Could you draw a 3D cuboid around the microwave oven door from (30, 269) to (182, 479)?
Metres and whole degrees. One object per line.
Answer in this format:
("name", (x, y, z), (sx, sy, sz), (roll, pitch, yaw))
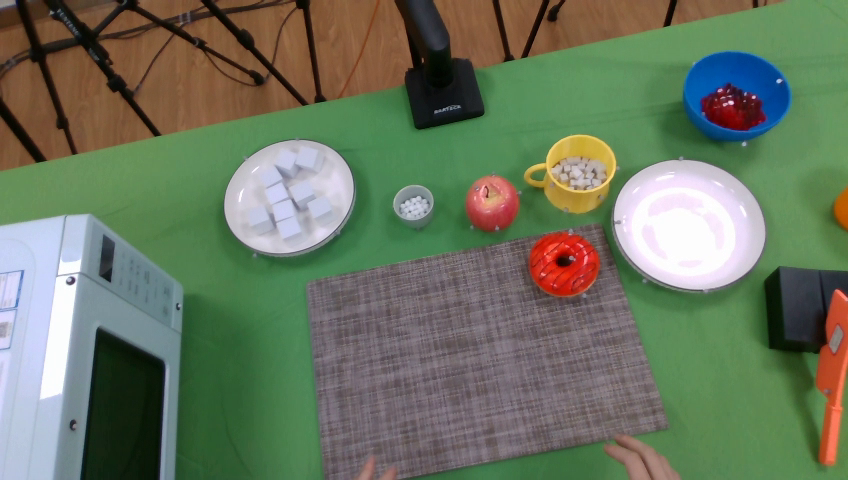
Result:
("microwave oven door", (-0.358, 0.239, 0.700), (0.039, 0.246, 0.352), (-9, 65, 3))

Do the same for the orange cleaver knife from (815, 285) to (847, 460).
("orange cleaver knife", (0.498, 0.161, 0.743), (0.012, 0.077, 0.211), (6, 99, 11))

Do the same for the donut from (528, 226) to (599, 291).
("donut", (0.196, 0.026, 0.858), (0.099, 0.048, 0.098), (-3, 67, 7))

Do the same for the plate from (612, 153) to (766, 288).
("plate", (0.374, -0.026, 0.869), (0.209, 0.038, 0.207), (-3, 66, 6))

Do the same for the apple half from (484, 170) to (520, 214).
("apple half", (0.121, -0.075, 0.900), (0.033, 0.082, 0.080), (-38, 67, -5))

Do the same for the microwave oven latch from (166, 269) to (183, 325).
("microwave oven latch", (-0.370, 0.084, 0.883), (0.030, 0.030, 0.078), (-7, 66, 3))

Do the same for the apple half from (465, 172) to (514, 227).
("apple half", (0.089, -0.052, 0.894), (0.053, 0.075, 0.080), (-37, 71, -5))

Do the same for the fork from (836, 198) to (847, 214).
("fork", (0.661, -0.077, 0.797), (0.207, 0.019, 0.028), (-27, 52, 44))

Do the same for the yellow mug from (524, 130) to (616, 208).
("yellow mug", (0.215, -0.105, 0.907), (0.131, 0.064, 0.099), (-2, 66, 7))

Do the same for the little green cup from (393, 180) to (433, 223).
("little green cup", (-0.014, -0.056, 0.927), (0.061, 0.039, 0.061), (-3, 65, 6))

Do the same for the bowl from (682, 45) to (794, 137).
("bowl", (0.462, -0.210, 0.919), (0.151, 0.077, 0.150), (-3, 66, 6))

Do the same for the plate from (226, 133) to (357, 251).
("plate", (-0.205, -0.073, 0.956), (0.207, 0.039, 0.206), (-2, 66, 6))

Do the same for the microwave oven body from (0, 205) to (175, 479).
("microwave oven body", (-0.506, 0.225, 0.729), (0.326, 0.262, 0.438), (-9, 66, 2))
